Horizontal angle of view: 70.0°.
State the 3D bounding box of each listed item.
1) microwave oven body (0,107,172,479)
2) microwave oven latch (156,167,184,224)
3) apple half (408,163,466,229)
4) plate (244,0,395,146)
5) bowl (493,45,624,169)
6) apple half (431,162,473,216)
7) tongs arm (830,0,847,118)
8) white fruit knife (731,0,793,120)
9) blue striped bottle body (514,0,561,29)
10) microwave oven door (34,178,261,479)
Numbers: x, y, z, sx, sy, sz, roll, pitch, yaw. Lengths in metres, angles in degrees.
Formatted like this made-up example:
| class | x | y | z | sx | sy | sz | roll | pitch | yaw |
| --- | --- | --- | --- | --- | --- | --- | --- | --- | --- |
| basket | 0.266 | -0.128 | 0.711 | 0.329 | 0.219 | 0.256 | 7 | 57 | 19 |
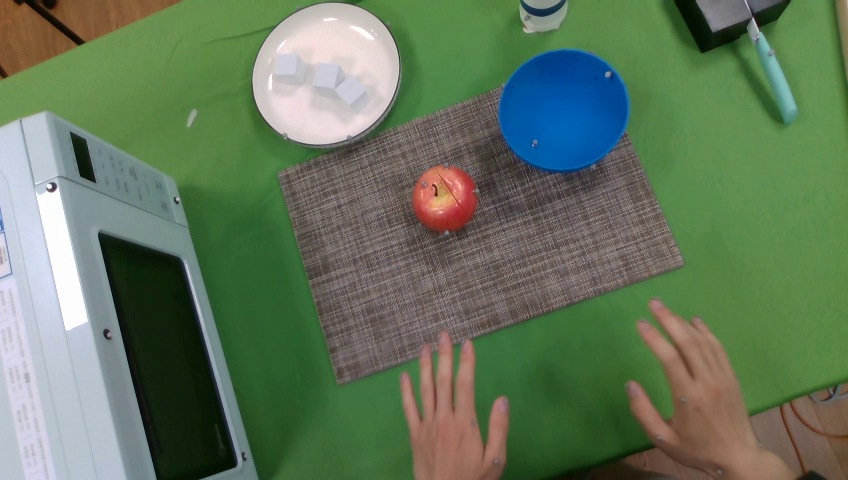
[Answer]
| class | x | y | z | sx | sy | sz | roll | pitch | yaw |
| --- | --- | --- | --- | --- | --- | --- | --- | --- | --- |
| microwave oven body | -0.442 | 0.142 | 0.690 | 0.326 | 0.261 | 0.439 | -22 | 78 | 4 |
| microwave oven latch | -0.349 | -0.055 | 0.810 | 0.030 | 0.029 | 0.079 | -22 | 78 | 4 |
| apple half | 0.010 | -0.046 | 0.749 | 0.053 | 0.075 | 0.080 | -36 | 79 | 6 |
| plate | -0.140 | -0.224 | 0.827 | 0.207 | 0.039 | 0.207 | -2 | 80 | 8 |
| bowl | 0.162 | -0.150 | 0.740 | 0.151 | 0.077 | 0.151 | -2 | 80 | 9 |
| apple half | 0.041 | -0.068 | 0.747 | 0.033 | 0.082 | 0.081 | -35 | 76 | 5 |
| tongs arm | 0.516 | -0.213 | 0.725 | 0.028 | 0.028 | 0.386 | -3 | 80 | 6 |
| white fruit knife | 0.396 | -0.243 | 0.729 | 0.016 | 0.027 | 0.207 | -23 | 88 | 3 |
| blue striped bottle body | 0.143 | -0.322 | 0.756 | 0.063 | 0.121 | 0.063 | -2 | 79 | 9 |
| microwave oven door | -0.293 | 0.125 | 0.664 | 0.039 | 0.245 | 0.354 | -22 | 77 | 5 |
